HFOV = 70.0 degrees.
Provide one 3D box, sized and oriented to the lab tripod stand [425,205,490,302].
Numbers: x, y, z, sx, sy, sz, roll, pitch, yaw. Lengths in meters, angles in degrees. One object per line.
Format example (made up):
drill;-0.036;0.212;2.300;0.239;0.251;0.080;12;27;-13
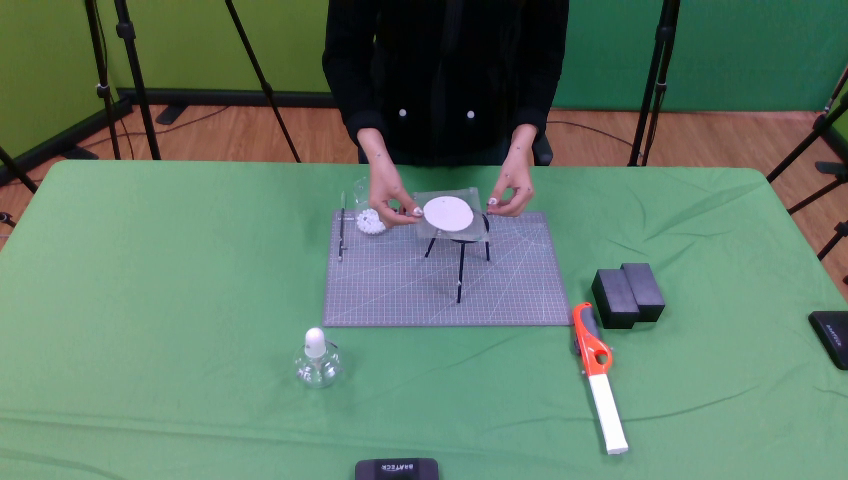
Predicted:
lab tripod stand;0.069;0.017;1.105;0.148;0.132;0.147;3;47;-3

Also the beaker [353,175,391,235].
beaker;-0.104;-0.065;1.196;0.074;0.101;0.084;24;50;18

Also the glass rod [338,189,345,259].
glass rod;-0.166;-0.036;1.227;0.008;0.008;0.198;-1;46;-4

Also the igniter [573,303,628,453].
igniter;0.288;0.217;1.006;0.057;0.025;0.274;-10;46;8

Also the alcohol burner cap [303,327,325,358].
alcohol burner cap;-0.169;0.154;0.925;0.034;0.048;0.033;4;42;-4

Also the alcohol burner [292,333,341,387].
alcohol burner;-0.170;0.179;0.950;0.078;0.120;0.077;2;48;-2

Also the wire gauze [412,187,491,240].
wire gauze;0.045;-0.046;1.044;0.125;0.011;0.120;-1;48;-7
